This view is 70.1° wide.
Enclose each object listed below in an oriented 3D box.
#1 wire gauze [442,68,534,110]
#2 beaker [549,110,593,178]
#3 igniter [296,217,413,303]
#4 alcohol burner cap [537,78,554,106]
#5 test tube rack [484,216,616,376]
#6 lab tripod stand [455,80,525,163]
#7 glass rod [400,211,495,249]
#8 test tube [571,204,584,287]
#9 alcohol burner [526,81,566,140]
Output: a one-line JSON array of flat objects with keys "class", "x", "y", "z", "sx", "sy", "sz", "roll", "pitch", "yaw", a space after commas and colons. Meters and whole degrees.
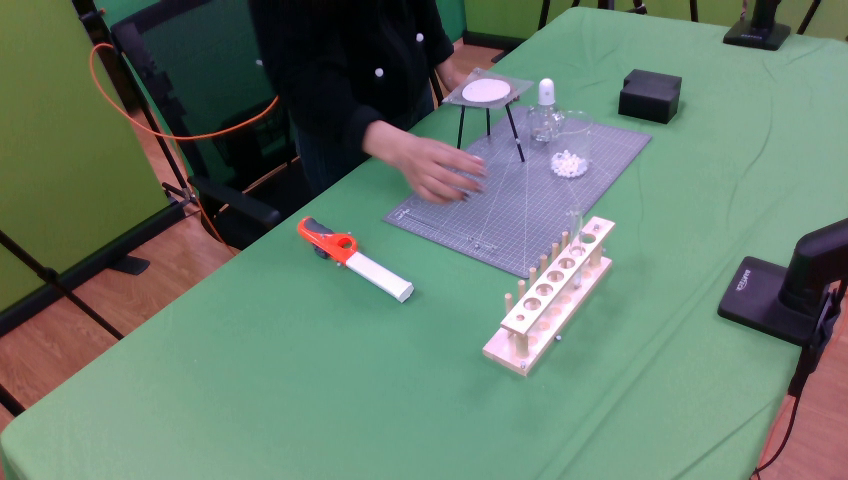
[{"class": "wire gauze", "x": 0.114, "y": -0.269, "z": 1.081, "sx": 0.120, "sy": 0.011, "sz": 0.125, "roll": 21, "pitch": 48, "yaw": 29}, {"class": "beaker", "x": 0.255, "y": -0.165, "z": 1.063, "sx": 0.084, "sy": 0.101, "sz": 0.073, "roll": -36, "pitch": 46, "yaw": -27}, {"class": "igniter", "x": -0.121, "y": 0.025, "z": 0.970, "sx": 0.274, "sy": 0.025, "sz": 0.057, "roll": 29, "pitch": 63, "yaw": 37}, {"class": "alcohol burner cap", "x": 0.229, "y": -0.279, "z": 1.136, "sx": 0.034, "sy": 0.048, "sz": 0.033, "roll": -5, "pitch": 33, "yaw": 4}, {"class": "test tube rack", "x": 0.174, "y": 0.064, "z": 0.823, "sx": 0.066, "sy": 0.085, "sz": 0.243, "roll": 23, "pitch": 49, "yaw": 33}, {"class": "lab tripod stand", "x": 0.120, "y": -0.219, "z": 1.126, "sx": 0.148, "sy": 0.132, "sz": 0.147, "roll": -4, "pitch": 40, "yaw": 4}, {"class": "glass rod", "x": 0.035, "y": -0.018, "z": 1.001, "sx": 0.198, "sy": 0.008, "sz": 0.008, "roll": 22, "pitch": 49, "yaw": 35}, {"class": "test tube", "x": 0.205, "y": 0.011, "z": 0.804, "sx": 0.017, "sy": 0.151, "sz": 0.017, "roll": -7, "pitch": 45, "yaw": 8}, {"class": "alcohol burner", "x": 0.235, "y": -0.252, "z": 1.159, "sx": 0.078, "sy": 0.119, "sz": 0.077, "roll": -4, "pitch": 42, "yaw": 4}]
